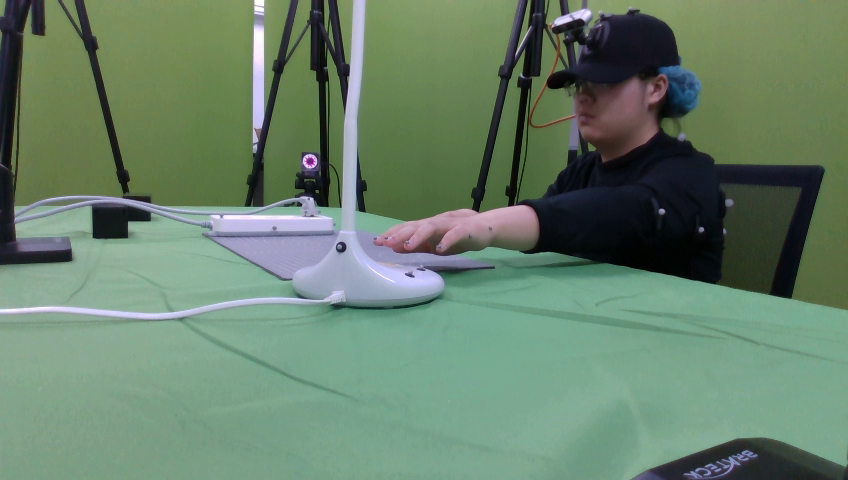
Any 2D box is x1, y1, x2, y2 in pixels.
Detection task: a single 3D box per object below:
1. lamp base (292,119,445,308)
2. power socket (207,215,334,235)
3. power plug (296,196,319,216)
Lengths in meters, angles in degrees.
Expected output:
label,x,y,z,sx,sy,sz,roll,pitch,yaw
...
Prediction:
label,x,y,z,sx,sy,sz,roll,pitch,yaw
lamp base,-0.056,-0.030,0.616,0.160,0.180,0.179,4,10,8
power socket,-0.270,-0.029,1.082,0.228,0.032,0.072,-2,7,-30
power plug,-0.219,-0.057,1.142,0.035,0.052,0.072,0,7,-19
